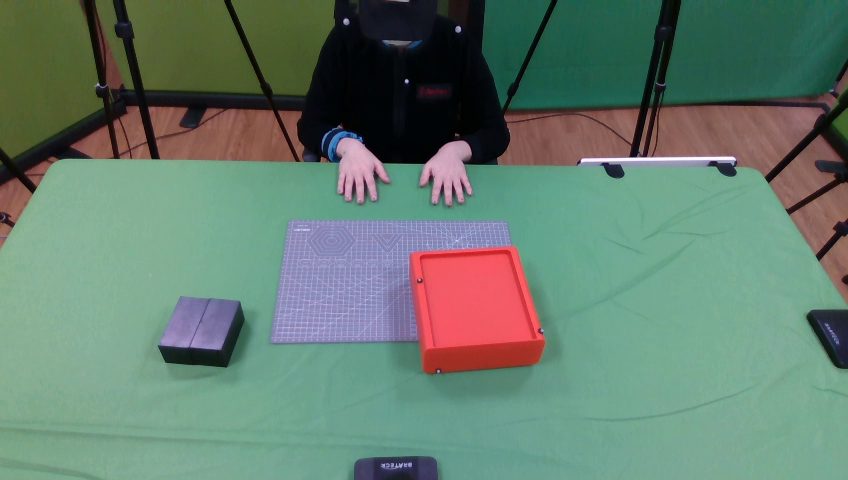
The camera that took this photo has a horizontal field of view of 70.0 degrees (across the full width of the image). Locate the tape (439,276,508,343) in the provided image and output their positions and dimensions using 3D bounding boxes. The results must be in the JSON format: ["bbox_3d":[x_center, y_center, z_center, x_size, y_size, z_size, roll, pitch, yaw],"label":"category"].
[{"bbox_3d":[0.084,0.119,1.052,0.117,0.053,0.116,2,45,-2],"label":"tape"}]

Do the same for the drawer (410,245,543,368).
[{"bbox_3d":[0.083,0.111,1.051,0.195,0.073,0.210,-3,47,-8],"label":"drawer"}]

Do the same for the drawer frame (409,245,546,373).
[{"bbox_3d":[0.084,0.113,1.049,0.202,0.083,0.212,-4,48,-8],"label":"drawer frame"}]
